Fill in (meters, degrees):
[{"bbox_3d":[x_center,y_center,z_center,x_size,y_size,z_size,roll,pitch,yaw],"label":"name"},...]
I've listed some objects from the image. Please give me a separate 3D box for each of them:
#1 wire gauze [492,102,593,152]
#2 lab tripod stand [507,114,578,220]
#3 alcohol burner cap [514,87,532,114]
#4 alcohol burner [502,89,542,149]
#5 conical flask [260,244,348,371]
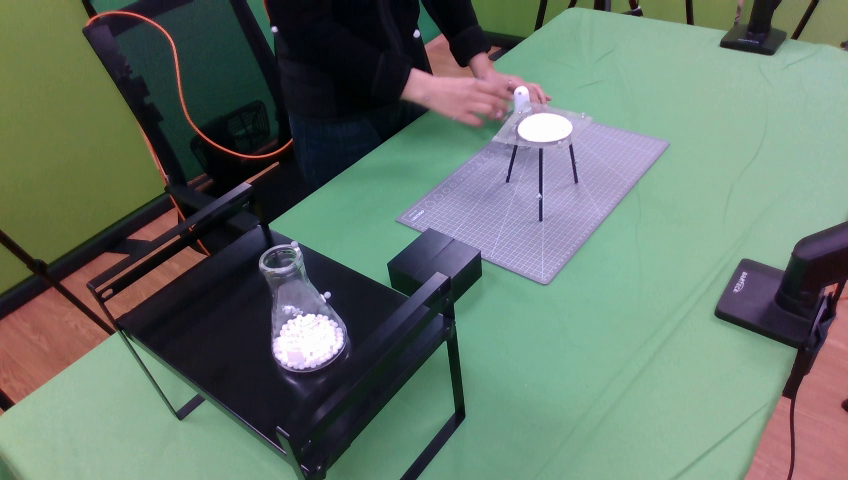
[{"bbox_3d":[0.190,-0.180,0.964,0.120,0.011,0.125,19,48,27],"label":"wire gauze"},{"bbox_3d":[0.198,-0.128,1.005,0.148,0.132,0.147,-3,42,3],"label":"lab tripod stand"},{"bbox_3d":[0.183,-0.262,1.125,0.034,0.048,0.033,-7,39,6],"label":"alcohol burner cap"},{"bbox_3d":[0.186,-0.235,1.149,0.078,0.119,0.077,-4,43,5],"label":"alcohol burner"},{"bbox_3d":[-0.118,0.060,0.565,0.075,0.122,0.075,-5,41,4],"label":"conical flask"}]
